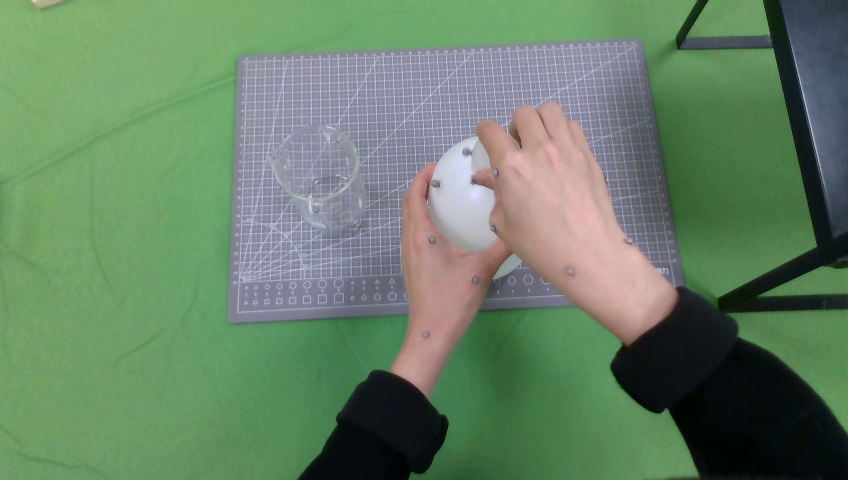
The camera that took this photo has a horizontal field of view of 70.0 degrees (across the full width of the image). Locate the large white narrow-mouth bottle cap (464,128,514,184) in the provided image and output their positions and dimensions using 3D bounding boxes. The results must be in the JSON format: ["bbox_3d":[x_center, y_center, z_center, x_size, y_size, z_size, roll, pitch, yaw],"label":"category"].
[{"bbox_3d":[0.047,-0.060,0.440,0.038,0.024,0.037,0,74,2],"label":"large white narrow-mouth bottle cap"}]

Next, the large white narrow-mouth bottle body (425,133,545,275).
[{"bbox_3d":[0.052,-0.035,0.524,0.102,0.195,0.101,0,74,2],"label":"large white narrow-mouth bottle body"}]

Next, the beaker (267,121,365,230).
[{"bbox_3d":[-0.098,-0.057,0.579,0.084,0.101,0.073,7,73,3],"label":"beaker"}]

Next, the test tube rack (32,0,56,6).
[{"bbox_3d":[-0.346,-0.355,0.677,0.242,0.085,0.066,-23,74,-7],"label":"test tube rack"}]
